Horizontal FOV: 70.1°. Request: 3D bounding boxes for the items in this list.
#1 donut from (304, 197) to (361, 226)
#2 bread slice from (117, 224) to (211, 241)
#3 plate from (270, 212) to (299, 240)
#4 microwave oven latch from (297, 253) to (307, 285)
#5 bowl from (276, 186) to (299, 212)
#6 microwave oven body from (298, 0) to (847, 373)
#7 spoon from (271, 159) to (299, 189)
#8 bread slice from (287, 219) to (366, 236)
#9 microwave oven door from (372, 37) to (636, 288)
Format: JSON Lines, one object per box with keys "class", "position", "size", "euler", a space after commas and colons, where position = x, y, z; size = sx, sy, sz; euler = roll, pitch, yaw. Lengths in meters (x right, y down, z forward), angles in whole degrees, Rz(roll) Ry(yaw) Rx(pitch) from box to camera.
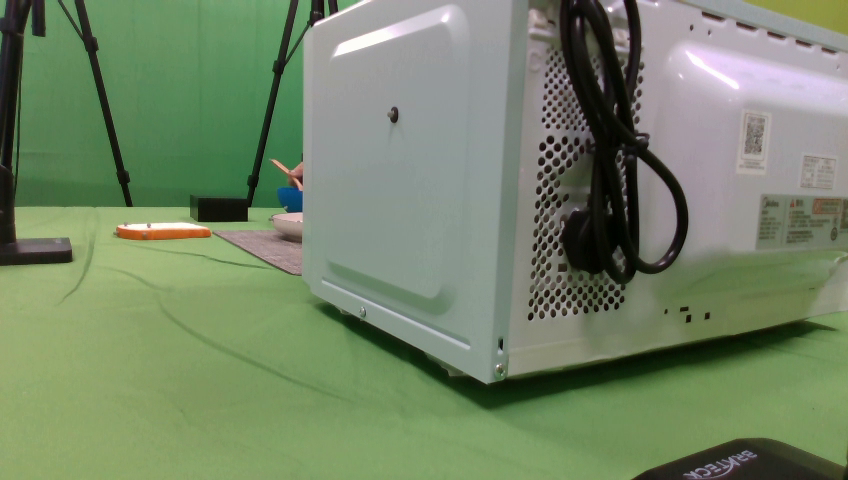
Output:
{"class": "donut", "position": [-0.160, -0.050, 1.055], "size": [0.099, 0.048, 0.099], "euler": [3, 8, 0]}
{"class": "bread slice", "position": [-0.443, -0.015, 1.022], "size": [0.132, 0.019, 0.104], "euler": [-3, 8, -45]}
{"class": "plate", "position": [-0.162, -0.022, 1.058], "size": [0.208, 0.039, 0.207], "euler": [2, 7, 0]}
{"class": "microwave oven latch", "position": [-0.081, 0.027, 0.582], "size": [0.079, 0.029, 0.030], "euler": [-1, 7, -32]}
{"class": "bowl", "position": [-0.242, -0.073, 1.302], "size": [0.151, 0.077, 0.151], "euler": [2, 8, 0]}
{"class": "microwave oven body", "position": [0.151, -0.055, 0.542], "size": [0.444, 0.260, 0.324], "euler": [-2, 7, -33]}
{"class": "spoon", "position": [-0.286, -0.131, 1.335], "size": [0.042, 0.021, 0.193], "euler": [-8, 44, -45]}
{"class": "bread slice", "position": [-0.170, -0.022, 1.056], "size": [0.134, 0.018, 0.107], "euler": [2, 7, -6]}
{"class": "microwave oven door", "position": [0.109, -0.080, 0.686], "size": [0.358, 0.243, 0.039], "euler": [-2, 9, -33]}
